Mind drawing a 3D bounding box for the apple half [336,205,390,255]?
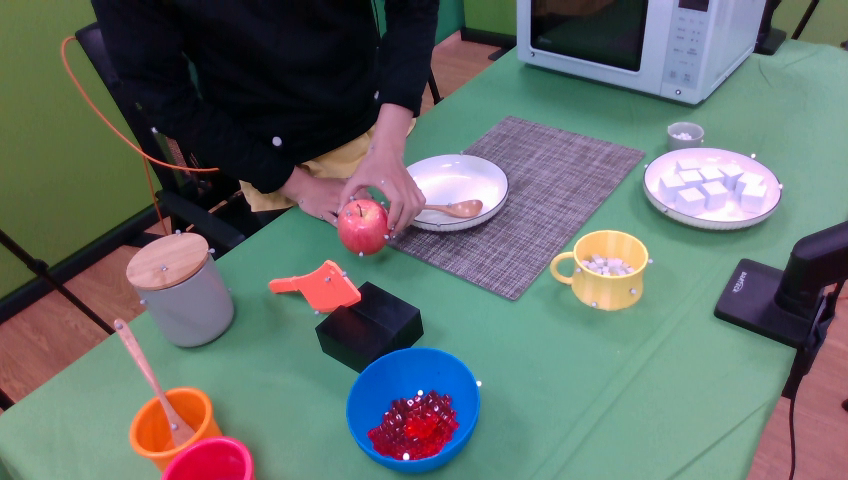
[{"bbox_3d":[-0.094,-0.009,0.896,0.081,0.075,0.053,9,50,1],"label":"apple half"}]

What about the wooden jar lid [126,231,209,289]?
[{"bbox_3d":[-0.340,0.030,0.809,0.108,0.021,0.108,-5,39,5],"label":"wooden jar lid"}]

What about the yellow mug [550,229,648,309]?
[{"bbox_3d":[0.245,0.040,0.857,0.130,0.064,0.099,1,42,11],"label":"yellow mug"}]

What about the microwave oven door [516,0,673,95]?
[{"bbox_3d":[0.344,-0.458,1.256,0.353,0.245,0.039,26,51,33],"label":"microwave oven door"}]

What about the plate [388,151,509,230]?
[{"bbox_3d":[0.044,-0.082,1.043,0.209,0.038,0.208,-4,41,4],"label":"plate"}]

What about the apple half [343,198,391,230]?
[{"bbox_3d":[-0.087,-0.034,0.915,0.081,0.081,0.032,-2,36,6],"label":"apple half"}]

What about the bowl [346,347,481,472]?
[{"bbox_3d":[-0.008,0.205,0.691,0.151,0.077,0.150,-4,40,4],"label":"bowl"}]

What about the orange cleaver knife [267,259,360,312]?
[{"bbox_3d":[-0.161,0.070,0.859,0.210,0.077,0.012,-13,22,49],"label":"orange cleaver knife"}]

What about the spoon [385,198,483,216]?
[{"bbox_3d":[0.002,-0.055,0.996,0.194,0.022,0.041,-1,45,-10],"label":"spoon"}]

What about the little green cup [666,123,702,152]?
[{"bbox_3d":[0.472,-0.183,1.102,0.061,0.039,0.061,-5,41,5],"label":"little green cup"}]

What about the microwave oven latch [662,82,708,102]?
[{"bbox_3d":[0.517,-0.298,1.203,0.078,0.029,0.030,27,52,34],"label":"microwave oven latch"}]

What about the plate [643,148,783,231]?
[{"bbox_3d":[0.464,-0.079,0.986,0.207,0.039,0.206,-4,40,4],"label":"plate"}]

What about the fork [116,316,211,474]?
[{"bbox_3d":[-0.308,0.179,0.708,0.028,0.018,0.207,-30,89,-15],"label":"fork"}]

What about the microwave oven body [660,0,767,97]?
[{"bbox_3d":[0.473,-0.517,1.313,0.438,0.261,0.327,26,51,34],"label":"microwave oven body"}]

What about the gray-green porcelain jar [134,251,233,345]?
[{"bbox_3d":[-0.334,0.076,0.849,0.106,0.127,0.105,-4,41,4],"label":"gray-green porcelain jar"}]
